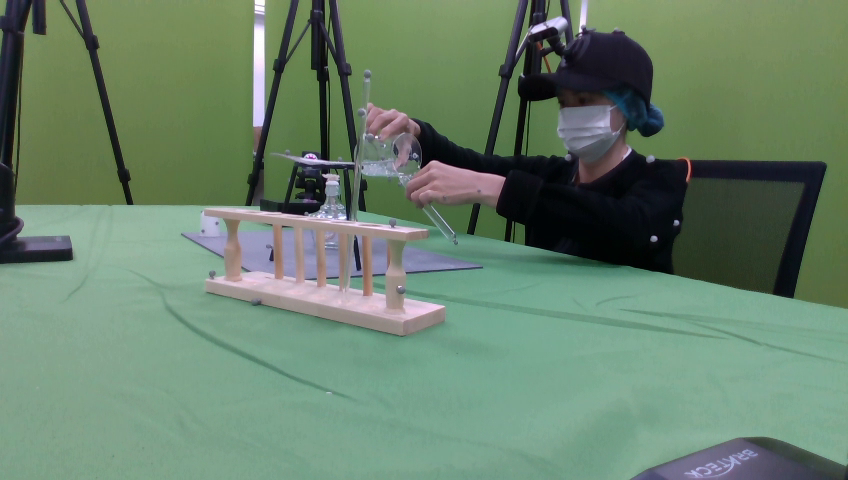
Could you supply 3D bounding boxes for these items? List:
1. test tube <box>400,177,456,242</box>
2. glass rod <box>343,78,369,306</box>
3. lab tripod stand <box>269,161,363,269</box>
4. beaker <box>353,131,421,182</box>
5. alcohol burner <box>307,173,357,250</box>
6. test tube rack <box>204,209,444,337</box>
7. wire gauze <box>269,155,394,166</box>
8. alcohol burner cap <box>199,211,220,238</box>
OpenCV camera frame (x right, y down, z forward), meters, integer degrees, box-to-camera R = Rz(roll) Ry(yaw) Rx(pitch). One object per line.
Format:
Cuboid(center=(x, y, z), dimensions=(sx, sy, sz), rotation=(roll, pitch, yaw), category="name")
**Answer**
Cuboid(center=(0.006, -0.050, 0.964), dimensions=(0.017, 0.017, 0.149), rotation=(-5, 46, -44), category="test tube")
Cuboid(center=(-0.059, -0.038, 0.522), dimensions=(0.008, 0.199, 0.008), rotation=(6, 5, 0), category="glass rod")
Cuboid(center=(-0.125, -0.036, 0.794), dimensions=(0.148, 0.131, 0.148), rotation=(5, 7, 0), category="lab tripod stand")
Cuboid(center=(-0.065, -0.141, 1.028), dimensions=(0.100, 0.084, 0.074), rotation=(6, 2, 41), category="beaker")
Cuboid(center=(-0.144, -0.045, 0.940), dimensions=(0.078, 0.119, 0.078), rotation=(1, 8, 0), category="alcohol burner")
Cuboid(center=(-0.100, 0.021, 0.565), dimensions=(0.241, 0.085, 0.067), rotation=(7, 9, 32), category="test tube rack")
Cuboid(center=(-0.121, -0.102, 0.785), dimensions=(0.122, 0.011, 0.124), rotation=(-3, 10, -39), category="wire gauze")
Cuboid(center=(-0.356, -0.027, 1.002), dimensions=(0.034, 0.048, 0.034), rotation=(2, 7, 0), category="alcohol burner cap")
